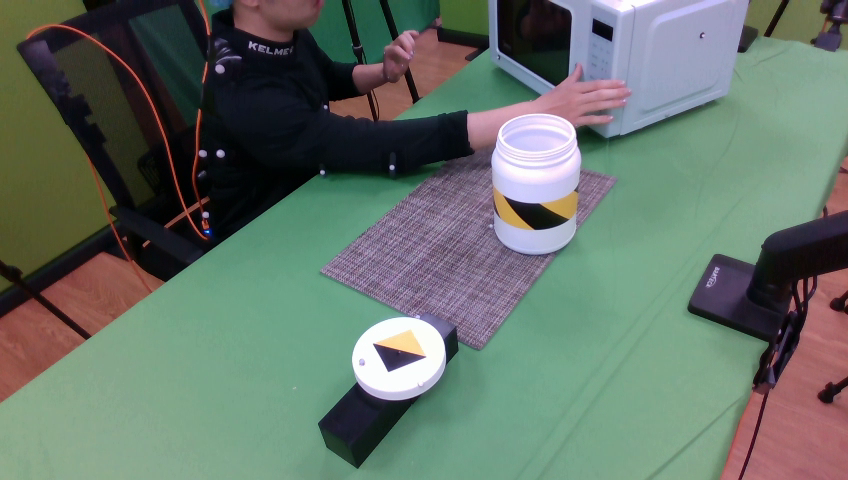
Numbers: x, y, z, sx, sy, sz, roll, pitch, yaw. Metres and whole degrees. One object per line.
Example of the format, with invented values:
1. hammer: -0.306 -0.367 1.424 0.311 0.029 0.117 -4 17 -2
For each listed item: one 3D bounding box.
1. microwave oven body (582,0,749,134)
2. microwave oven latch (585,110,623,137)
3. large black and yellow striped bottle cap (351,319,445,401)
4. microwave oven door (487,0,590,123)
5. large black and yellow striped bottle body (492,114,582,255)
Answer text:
1. microwave oven body: 0.382 -0.444 1.246 0.327 0.261 0.437 -22 42 -16
2. microwave oven latch: 0.338 -0.222 1.142 0.030 0.029 0.078 -20 41 -13
3. large black and yellow striped bottle cap: -0.031 0.143 0.735 0.115 0.019 0.114 -3 40 3
4. microwave oven door: 0.232 -0.420 1.231 0.039 0.245 0.352 -22 43 -16
5. large black and yellow striped bottle body: 0.170 -0.084 0.913 0.131 0.185 0.130 -4 41 4
